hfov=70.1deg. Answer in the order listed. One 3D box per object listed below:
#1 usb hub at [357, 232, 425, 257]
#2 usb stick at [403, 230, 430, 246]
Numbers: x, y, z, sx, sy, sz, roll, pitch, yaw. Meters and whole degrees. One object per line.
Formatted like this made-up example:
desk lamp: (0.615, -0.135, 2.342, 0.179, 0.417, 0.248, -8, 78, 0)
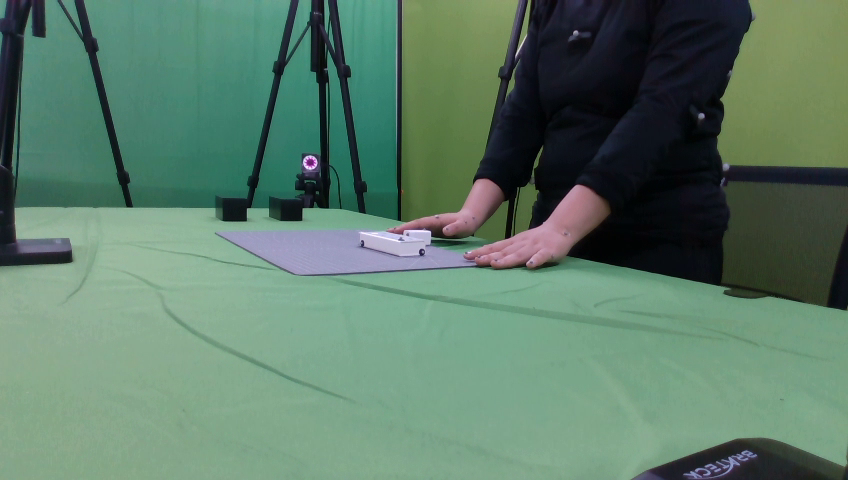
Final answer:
usb hub: (-0.055, 0.005, 0.947, 0.050, 0.025, 0.124, -3, 9, -36)
usb stick: (-0.019, -0.003, 1.020, 0.059, 0.027, 0.021, -6, 15, -35)
